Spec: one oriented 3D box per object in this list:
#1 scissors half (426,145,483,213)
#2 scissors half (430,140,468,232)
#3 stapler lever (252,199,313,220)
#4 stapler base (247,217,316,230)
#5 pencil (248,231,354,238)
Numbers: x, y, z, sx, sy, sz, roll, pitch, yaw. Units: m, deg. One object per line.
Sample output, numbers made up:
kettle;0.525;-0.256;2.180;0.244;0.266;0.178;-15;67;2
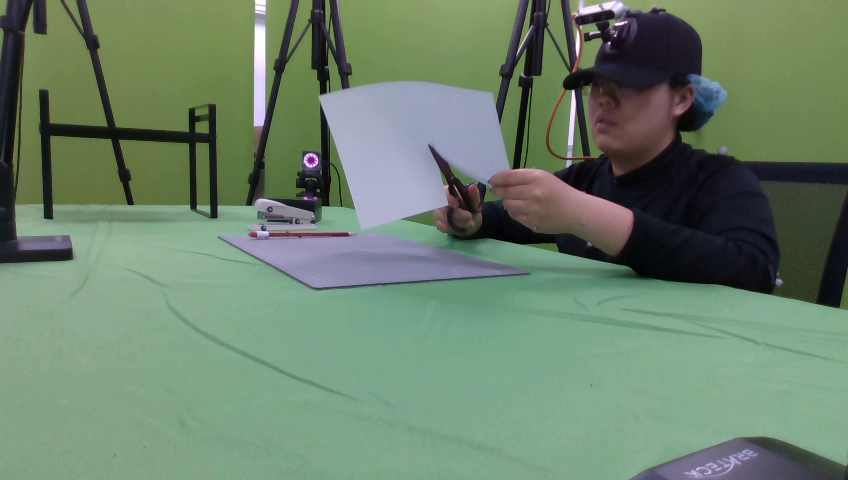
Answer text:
scissors half;0.050;-0.097;0.961;0.012;0.040;0.176;24;-12;44
scissors half;0.036;-0.081;0.954;0.013;0.175;0.040;18;49;41
stapler lever;-0.273;-0.058;1.170;0.119;0.040;0.026;0;10;-37
stapler base;-0.276;-0.033;1.172;0.131;0.024;0.041;0;10;-37
pencil;-0.206;-0.009;1.039;0.195;0.012;0.012;0;8;-36
